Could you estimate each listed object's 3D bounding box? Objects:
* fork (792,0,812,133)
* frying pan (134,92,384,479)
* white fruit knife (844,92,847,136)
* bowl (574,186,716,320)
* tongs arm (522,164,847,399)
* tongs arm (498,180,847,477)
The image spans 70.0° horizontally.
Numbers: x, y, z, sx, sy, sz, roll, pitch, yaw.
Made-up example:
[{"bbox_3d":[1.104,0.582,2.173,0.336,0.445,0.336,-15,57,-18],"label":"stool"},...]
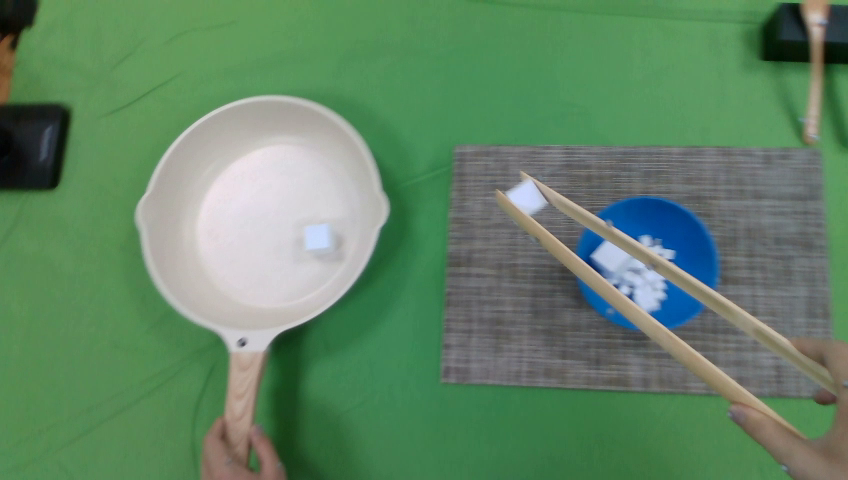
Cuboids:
[{"bbox_3d":[0.454,-0.233,0.723,0.028,0.018,0.208,-6,99,0],"label":"fork"},{"bbox_3d":[-0.200,0.062,0.717,0.306,0.103,0.484,0,71,6],"label":"frying pan"},{"bbox_3d":[0.512,-0.229,0.716,0.016,0.027,0.207,0,96,11],"label":"white fruit knife"},{"bbox_3d":[0.242,0.021,0.694,0.151,0.077,0.150,-1,79,5],"label":"bowl"},{"bbox_3d":[0.203,0.037,0.508,0.051,0.027,0.380,-38,50,-16],"label":"tongs arm"},{"bbox_3d":[0.184,0.050,0.504,0.028,0.028,0.383,-32,49,-15],"label":"tongs arm"}]
